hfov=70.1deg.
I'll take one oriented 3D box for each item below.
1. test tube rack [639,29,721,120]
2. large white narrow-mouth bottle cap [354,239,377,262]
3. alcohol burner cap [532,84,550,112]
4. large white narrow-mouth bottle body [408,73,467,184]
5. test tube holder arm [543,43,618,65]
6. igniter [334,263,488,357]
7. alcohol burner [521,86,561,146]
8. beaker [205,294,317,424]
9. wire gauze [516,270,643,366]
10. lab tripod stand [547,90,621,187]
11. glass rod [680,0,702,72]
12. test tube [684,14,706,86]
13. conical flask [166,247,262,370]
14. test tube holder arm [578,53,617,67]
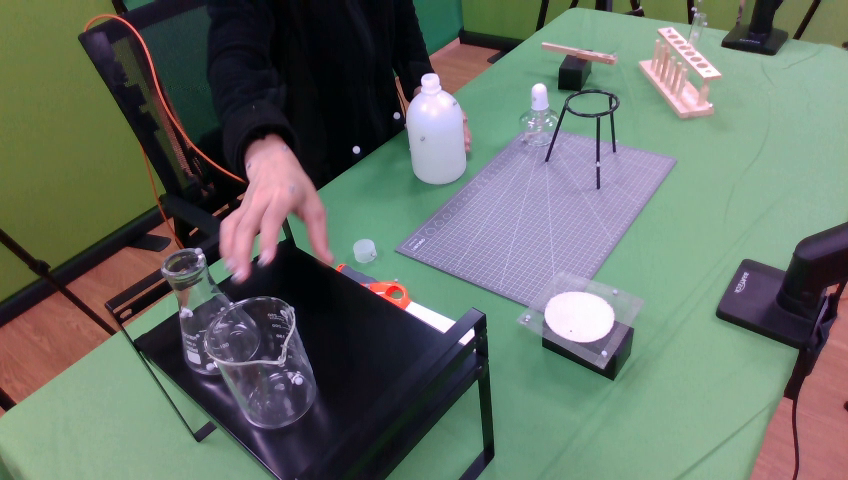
[{"bbox_3d":[0.527,-0.351,1.262,0.067,0.085,0.241,-8,40,1],"label":"test tube rack"},{"bbox_3d":[-0.095,0.017,0.981,0.038,0.024,0.037,-4,40,4],"label":"large white narrow-mouth bottle cap"},{"bbox_3d":[0.218,-0.268,1.133,0.034,0.048,0.033,-8,36,7],"label":"alcohol burner cap"},{"bbox_3d":[0.023,-0.203,1.085,0.102,0.195,0.101,-4,40,4],"label":"large white narrow-mouth bottle body"},{"bbox_3d":[0.344,-0.413,1.340,0.177,0.015,0.013,25,50,31],"label":"test tube holder arm"},{"bbox_3d":[-0.030,0.095,0.872,0.274,0.025,0.057,23,60,31],"label":"igniter"},{"bbox_3d":[0.223,-0.241,1.155,0.078,0.119,0.077,-5,43,5],"label":"alcohol burner"},{"bbox_3d":[-0.137,0.110,0.536,0.083,0.101,0.074,30,53,36],"label":"beaker"},{"bbox_3d":[0.200,0.093,0.777,0.124,0.011,0.122,23,49,32],"label":"wire gauze"},{"bbox_3d":[0.288,-0.184,1.062,0.148,0.132,0.147,-6,41,6],"label":"lab tripod stand"},{"bbox_3d":[0.542,-0.417,1.233,0.008,0.200,0.008,1,40,0],"label":"glass rod"},{"bbox_3d":[0.540,-0.378,1.215,0.017,0.151,0.017,-2,44,3],"label":"test tube"},{"bbox_3d":[-0.209,0.063,0.584,0.075,0.122,0.075,-4,41,4],"label":"conical flask"},{"bbox_3d":[0.376,-0.393,1.314,0.087,0.015,0.010,25,51,32],"label":"test tube holder arm"}]
